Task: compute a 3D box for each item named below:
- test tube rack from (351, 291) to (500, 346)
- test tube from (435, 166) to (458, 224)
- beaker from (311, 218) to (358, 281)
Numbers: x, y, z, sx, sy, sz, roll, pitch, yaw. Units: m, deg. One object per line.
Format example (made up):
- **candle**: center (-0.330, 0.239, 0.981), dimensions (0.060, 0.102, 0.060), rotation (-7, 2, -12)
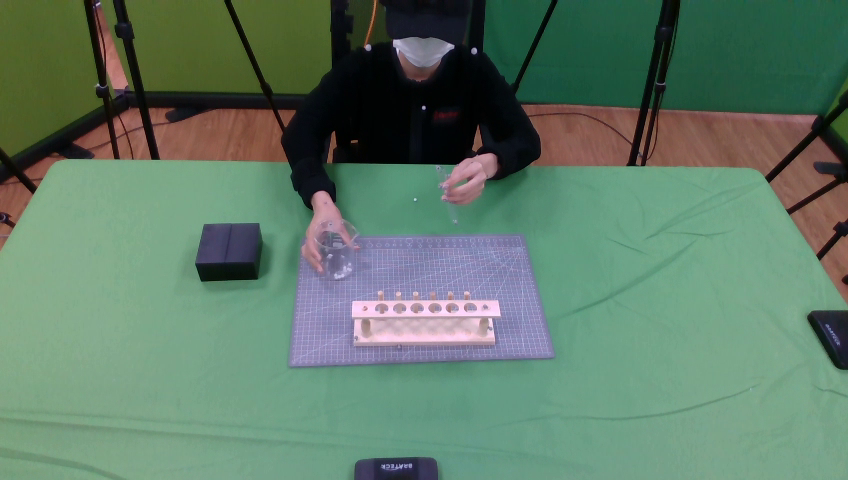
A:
- **test tube rack**: center (0.001, 0.129, 1.026), dimensions (0.242, 0.085, 0.066), rotation (0, 46, -4)
- **test tube**: center (0.042, -0.080, 1.113), dimensions (0.017, 0.151, 0.017), rotation (-8, 51, 10)
- **beaker**: center (-0.162, 0.020, 1.107), dimensions (0.084, 0.101, 0.073), rotation (-5, 50, -11)
